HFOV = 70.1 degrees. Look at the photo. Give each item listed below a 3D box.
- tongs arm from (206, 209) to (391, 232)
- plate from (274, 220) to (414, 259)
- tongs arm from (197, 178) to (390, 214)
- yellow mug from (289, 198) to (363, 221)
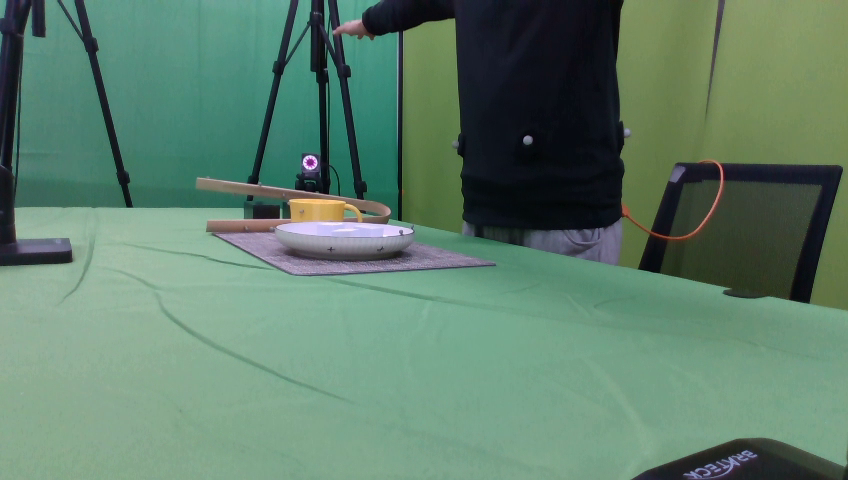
[{"bbox_3d":[-0.224,-0.037,1.170,0.390,0.028,0.028,-4,31,-36],"label":"tongs arm"},{"bbox_3d":[-0.118,-0.001,0.903,0.208,0.039,0.207,3,7,0],"label":"plate"},{"bbox_3d":[-0.256,-0.083,1.229,0.387,0.026,0.050,5,30,-26],"label":"tongs arm"},{"bbox_3d":[-0.174,-0.039,1.072,0.131,0.064,0.100,3,7,0],"label":"yellow mug"}]
